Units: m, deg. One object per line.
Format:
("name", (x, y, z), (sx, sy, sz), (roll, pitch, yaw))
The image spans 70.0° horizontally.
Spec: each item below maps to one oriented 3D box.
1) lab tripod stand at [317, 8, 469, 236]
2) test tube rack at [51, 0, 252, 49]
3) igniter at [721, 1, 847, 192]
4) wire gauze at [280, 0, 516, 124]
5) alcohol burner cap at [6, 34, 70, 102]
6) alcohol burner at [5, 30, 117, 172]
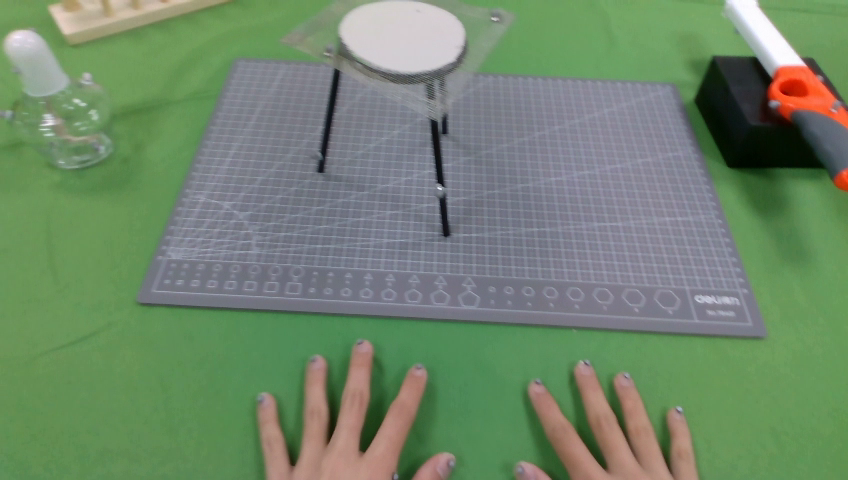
("lab tripod stand", (-0.013, -0.094, 0.468), (0.148, 0.132, 0.147), (3, 50, -3))
("test tube rack", (-0.279, -0.293, 0.654), (0.242, 0.086, 0.066), (-27, 57, -23))
("igniter", (0.325, -0.139, 0.537), (0.057, 0.025, 0.273), (-1, 48, 0))
("wire gauze", (-0.014, -0.138, 0.417), (0.124, 0.011, 0.121), (26, 54, 15))
("alcohol burner cap", (-0.296, -0.133, 0.460), (0.034, 0.048, 0.033), (2, 50, -2))
("alcohol burner", (-0.295, -0.113, 0.484), (0.078, 0.120, 0.077), (1, 52, 0))
